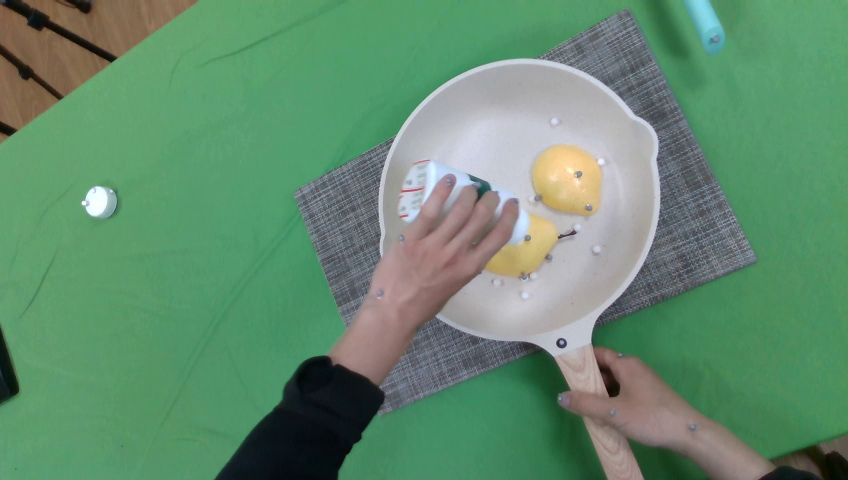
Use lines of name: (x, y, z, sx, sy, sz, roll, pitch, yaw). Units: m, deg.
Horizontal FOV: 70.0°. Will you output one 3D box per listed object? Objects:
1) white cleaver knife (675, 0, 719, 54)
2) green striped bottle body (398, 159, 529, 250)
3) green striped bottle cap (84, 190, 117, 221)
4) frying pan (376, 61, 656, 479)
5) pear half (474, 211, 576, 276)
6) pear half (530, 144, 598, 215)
white cleaver knife: (0.236, -0.317, 0.624, 0.021, 0.066, 0.285, -24, 79, 21)
green striped bottle body: (0.041, -0.029, 0.571, 0.063, 0.120, 0.062, -39, 42, 48)
green striped bottle cap: (-0.461, -0.050, 0.864, 0.044, 0.020, 0.044, -1, 87, 19)
frying pan: (0.126, 0.054, 0.622, 0.306, 0.103, 0.484, -24, 72, 17)
pear half: (0.108, -0.001, 0.654, 0.109, 0.056, 0.076, -13, 89, 16)
pear half: (0.153, -0.065, 0.654, 0.070, 0.031, 0.087, -42, 73, 16)
